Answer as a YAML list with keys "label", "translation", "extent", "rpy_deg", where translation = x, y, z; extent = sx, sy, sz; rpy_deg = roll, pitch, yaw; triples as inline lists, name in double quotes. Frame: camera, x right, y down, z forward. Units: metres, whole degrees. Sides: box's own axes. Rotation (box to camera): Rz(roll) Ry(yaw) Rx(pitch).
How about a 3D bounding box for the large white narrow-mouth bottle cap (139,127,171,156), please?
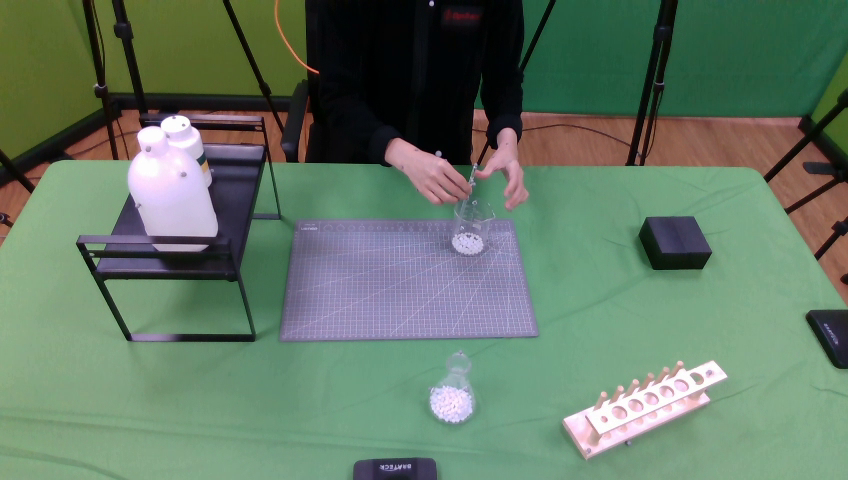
- label: "large white narrow-mouth bottle cap"
  translation: [-0.358, -0.132, 0.808]
  extent: [0.038, 0.024, 0.037]
  rpy_deg: [3, 47, -3]

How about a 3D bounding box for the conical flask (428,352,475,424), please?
- label: "conical flask"
  translation: [0.046, 0.220, 0.920]
  extent: [0.075, 0.122, 0.075]
  rpy_deg: [2, 46, -2]

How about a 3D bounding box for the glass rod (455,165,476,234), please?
- label: "glass rod"
  translation: [0.075, -0.069, 1.113]
  extent: [0.008, 0.200, 0.008]
  rpy_deg: [4, 55, -5]

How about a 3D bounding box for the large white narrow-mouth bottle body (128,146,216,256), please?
- label: "large white narrow-mouth bottle body"
  translation: [-0.366, -0.073, 0.872]
  extent: [0.102, 0.195, 0.101]
  rpy_deg: [3, 47, -3]

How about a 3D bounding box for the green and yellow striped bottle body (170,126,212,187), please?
- label: "green and yellow striped bottle body"
  translation: [-0.389, -0.139, 0.984]
  extent: [0.063, 0.120, 0.063]
  rpy_deg: [2, 46, -2]

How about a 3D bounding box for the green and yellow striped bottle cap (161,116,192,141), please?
- label: "green and yellow striped bottle cap"
  translation: [-0.387, -0.174, 0.946]
  extent: [0.045, 0.020, 0.045]
  rpy_deg: [3, 44, -3]

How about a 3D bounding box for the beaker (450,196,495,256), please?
- label: "beaker"
  translation: [0.092, -0.024, 1.170]
  extent: [0.084, 0.101, 0.073]
  rpy_deg: [15, 47, 10]

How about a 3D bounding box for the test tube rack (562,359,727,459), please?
- label: "test tube rack"
  translation: [0.341, 0.247, 0.940]
  extent: [0.243, 0.085, 0.066]
  rpy_deg: [-16, 49, -18]
